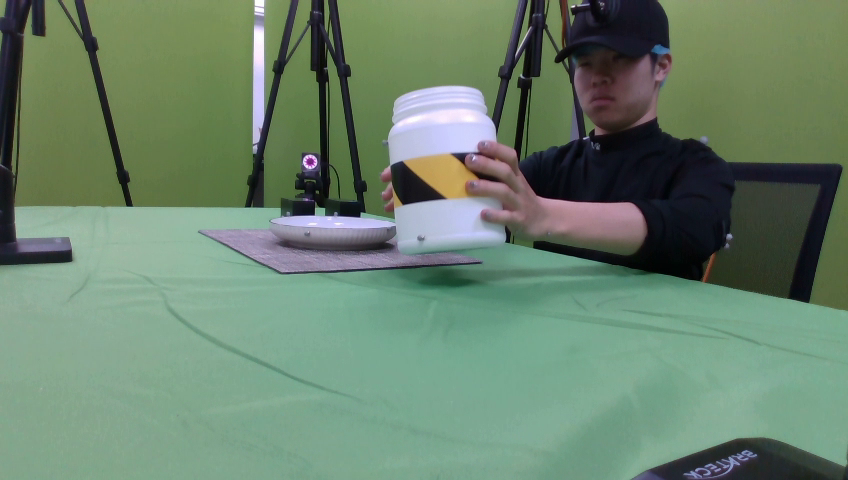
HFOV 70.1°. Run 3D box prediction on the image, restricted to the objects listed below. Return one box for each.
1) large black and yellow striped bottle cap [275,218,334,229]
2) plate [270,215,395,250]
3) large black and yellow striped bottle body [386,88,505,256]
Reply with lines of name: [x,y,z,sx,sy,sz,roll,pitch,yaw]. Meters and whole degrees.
large black and yellow striped bottle cap: [-0.236,-0.033,1.197,0.115,0.019,0.115,2,3,0]
plate: [-0.145,-0.013,0.991,0.208,0.039,0.207,2,7,0]
large black and yellow striped bottle body: [0.024,-0.077,0.722,0.131,0.183,0.131,-5,-2,0]
